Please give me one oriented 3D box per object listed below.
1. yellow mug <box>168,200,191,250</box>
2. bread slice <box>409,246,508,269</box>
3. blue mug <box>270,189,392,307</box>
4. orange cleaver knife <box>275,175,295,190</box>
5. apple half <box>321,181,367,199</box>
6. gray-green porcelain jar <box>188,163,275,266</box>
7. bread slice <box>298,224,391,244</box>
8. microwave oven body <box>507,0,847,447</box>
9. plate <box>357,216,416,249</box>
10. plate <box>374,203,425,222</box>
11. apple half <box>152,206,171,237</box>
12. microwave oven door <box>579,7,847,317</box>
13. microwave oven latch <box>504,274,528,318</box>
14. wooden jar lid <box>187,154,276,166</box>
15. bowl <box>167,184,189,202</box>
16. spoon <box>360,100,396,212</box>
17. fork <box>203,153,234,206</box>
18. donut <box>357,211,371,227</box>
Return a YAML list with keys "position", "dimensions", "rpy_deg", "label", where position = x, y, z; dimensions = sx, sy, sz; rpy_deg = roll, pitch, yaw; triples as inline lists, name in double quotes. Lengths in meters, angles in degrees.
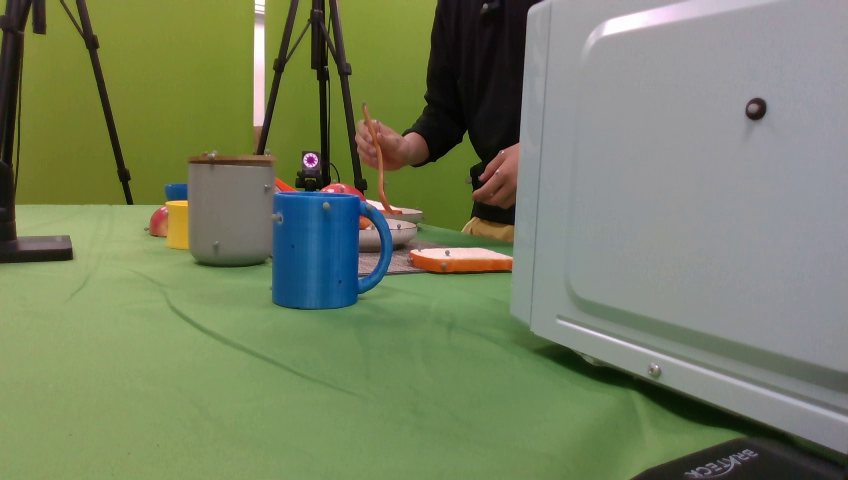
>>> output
- position: [-0.320, -0.022, 0.904]
  dimensions: [0.130, 0.064, 0.100]
  rpy_deg: [8, 10, 36]
  label: "yellow mug"
- position: [0.048, 0.022, 0.816]
  dimensions: [0.132, 0.019, 0.104]
  rpy_deg: [0, 7, -24]
  label: "bread slice"
- position: [-0.090, 0.005, 0.588]
  dimensions: [0.117, 0.106, 0.082]
  rpy_deg: [1, 7, -11]
  label: "blue mug"
- position: [-0.283, -0.087, 1.343]
  dimensions: [0.212, 0.077, 0.012]
  rpy_deg: [24, -16, -41]
  label: "orange cleaver knife"
- position: [-0.129, -0.076, 0.950]
  dimensions: [0.081, 0.033, 0.081]
  rpy_deg: [1, 14, 0]
  label: "apple half"
- position: [-0.246, -0.034, 0.780]
  dimensions: [0.106, 0.126, 0.106]
  rpy_deg: [2, 7, 0]
  label: "gray-green porcelain jar"
- position: [-0.121, -0.012, 0.972]
  dimensions: [0.106, 0.018, 0.135]
  rpy_deg: [8, 11, 42]
  label: "bread slice"
- position: [0.331, -0.042, 0.425]
  dimensions: [0.444, 0.260, 0.324]
  rpy_deg: [-2, 8, -31]
  label: "microwave oven body"
- position: [-0.116, -0.014, 0.967]
  dimensions: [0.208, 0.039, 0.207]
  rpy_deg: [2, 7, 0]
  label: "plate"
- position: [-0.102, -0.053, 1.299]
  dimensions: [0.209, 0.038, 0.209]
  rpy_deg: [2, 8, 0]
  label: "plate"
- position: [-0.415, -0.034, 1.017]
  dimensions: [0.081, 0.053, 0.074]
  rpy_deg: [1, 10, -8]
  label: "apple half"
- position: [0.294, -0.067, 0.570]
  dimensions: [0.358, 0.243, 0.039]
  rpy_deg: [-3, 9, -31]
  label: "microwave oven door"
- position: [0.100, 0.041, 0.471]
  dimensions: [0.079, 0.029, 0.030]
  rpy_deg: [-1, 8, -28]
  label: "microwave oven latch"
- position: [-0.244, -0.097, 0.771]
  dimensions: [0.108, 0.020, 0.108]
  rpy_deg: [-1, 7, 0]
  label: "wooden jar lid"
- position: [-0.408, -0.064, 1.154]
  dimensions: [0.151, 0.077, 0.151]
  rpy_deg: [2, 8, 0]
  label: "bowl"
- position: [-0.076, -0.139, 0.995]
  dimensions: [0.021, 0.193, 0.041]
  rpy_deg: [-12, -4, 2]
  label: "spoon"
- position: [-0.480, -0.135, 1.411]
  dimensions: [0.028, 0.018, 0.207]
  rpy_deg: [1, -34, -1]
  label: "fork"
- position: [-0.129, -0.041, 0.957]
  dimensions: [0.099, 0.048, 0.099]
  rpy_deg: [2, 8, 0]
  label: "donut"
